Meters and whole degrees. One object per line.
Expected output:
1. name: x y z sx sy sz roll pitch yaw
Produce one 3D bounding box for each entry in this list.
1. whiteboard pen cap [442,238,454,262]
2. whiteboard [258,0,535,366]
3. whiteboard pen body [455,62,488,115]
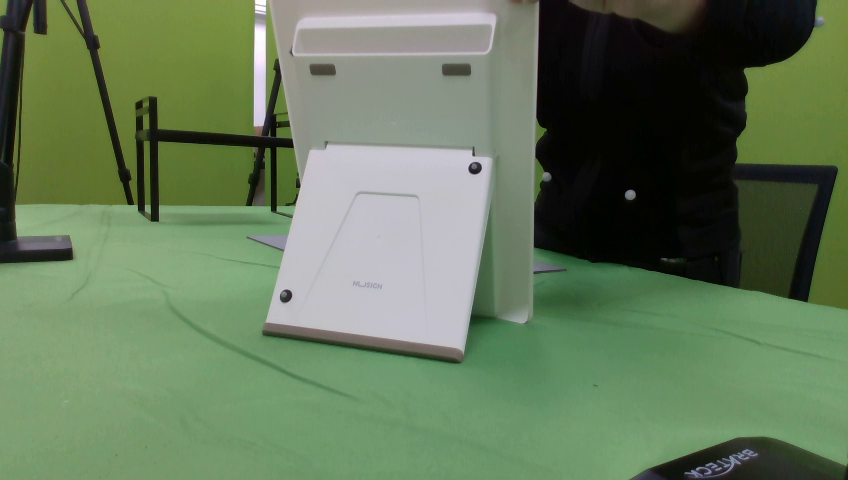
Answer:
1. whiteboard pen cap: 0.033 0.014 0.851 0.018 0.033 0.018 3 4 0
2. whiteboard: -0.037 -0.041 0.456 0.216 0.305 0.144 5 27 19
3. whiteboard pen body: 0.042 -0.135 0.540 0.017 0.017 0.141 4 30 12
